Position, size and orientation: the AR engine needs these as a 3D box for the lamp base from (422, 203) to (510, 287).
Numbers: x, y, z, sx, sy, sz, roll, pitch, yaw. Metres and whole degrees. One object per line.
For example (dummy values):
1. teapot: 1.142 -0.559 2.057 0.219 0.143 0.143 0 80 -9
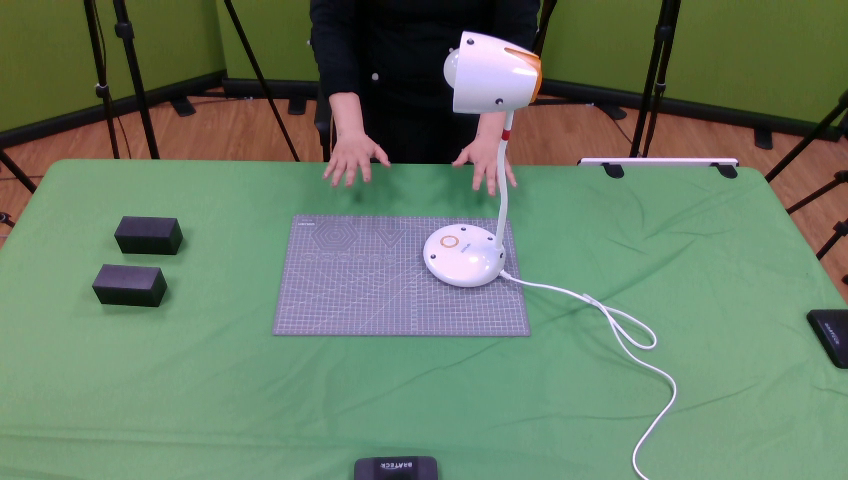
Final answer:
1. lamp base: 0.092 -0.021 1.111 0.179 0.181 0.160 23 49 14

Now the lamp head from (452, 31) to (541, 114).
1. lamp head: 0.102 -0.228 0.858 0.123 0.113 0.112 11 46 0
